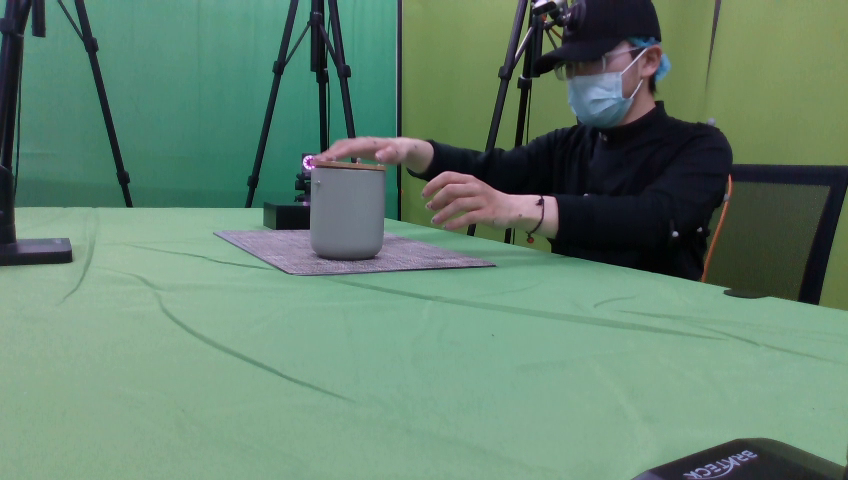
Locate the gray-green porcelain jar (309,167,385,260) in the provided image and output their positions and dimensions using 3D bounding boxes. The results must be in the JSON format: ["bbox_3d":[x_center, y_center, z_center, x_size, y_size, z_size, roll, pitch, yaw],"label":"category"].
[{"bbox_3d":[-0.109,-0.040,0.859,0.106,0.126,0.106,2,7,0],"label":"gray-green porcelain jar"}]

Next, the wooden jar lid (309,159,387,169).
[{"bbox_3d":[-0.107,-0.101,0.851,0.108,0.020,0.108,4,6,0],"label":"wooden jar lid"}]
